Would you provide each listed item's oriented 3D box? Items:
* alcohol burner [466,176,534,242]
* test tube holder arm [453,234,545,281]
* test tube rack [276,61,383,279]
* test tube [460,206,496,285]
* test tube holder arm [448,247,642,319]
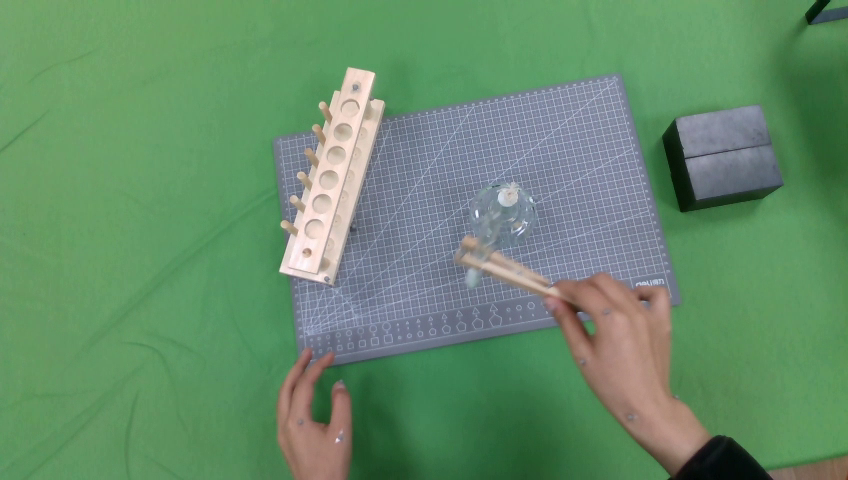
[{"bbox_3d":[0.086,-0.039,0.679,0.078,0.119,0.077,0,76,2],"label":"alcohol burner"},{"bbox_3d":[0.068,0.018,0.552,0.087,0.015,0.010,26,61,8],"label":"test tube holder arm"},{"bbox_3d":[-0.118,-0.083,0.714,0.066,0.085,0.241,14,79,7],"label":"test tube rack"},{"bbox_3d":[0.046,0.010,0.543,0.017,0.151,0.017,1,66,-2],"label":"test tube"},{"bbox_3d":[0.108,0.039,0.545,0.178,0.015,0.013,19,61,4],"label":"test tube holder arm"}]
